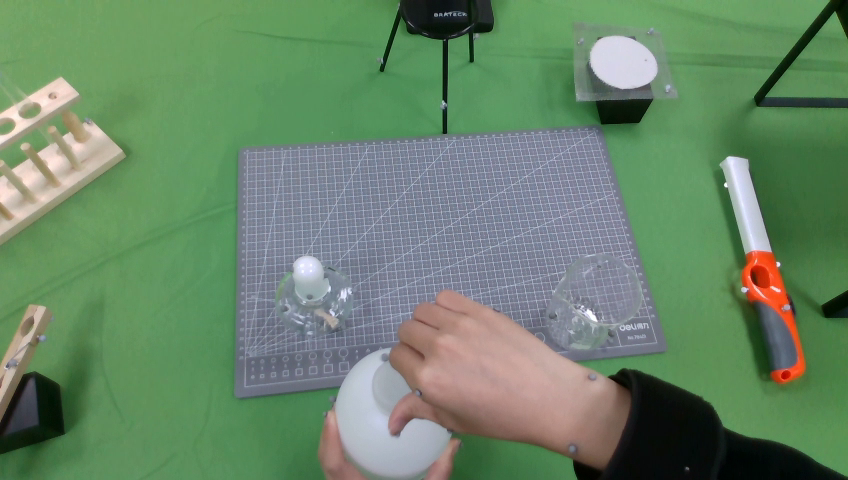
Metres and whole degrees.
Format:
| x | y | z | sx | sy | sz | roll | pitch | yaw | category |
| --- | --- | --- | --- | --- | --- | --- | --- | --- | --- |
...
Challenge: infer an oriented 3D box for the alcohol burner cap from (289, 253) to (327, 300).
| x | y | z | sx | sy | sz | roll | pitch | yaw | category |
| --- | --- | --- | --- | --- | --- | --- | --- | --- | --- |
| -0.109 | 0.032 | 0.559 | 0.034 | 0.048 | 0.033 | 0 | 59 | 0 | alcohol burner cap |

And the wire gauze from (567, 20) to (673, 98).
| x | y | z | sx | sy | sz | roll | pitch | yaw | category |
| --- | --- | --- | --- | --- | --- | --- | --- | --- | --- |
| 0.241 | -0.226 | 0.757 | 0.121 | 0.011 | 0.124 | 2 | 64 | -3 | wire gauze |

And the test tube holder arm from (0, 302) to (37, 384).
| x | y | z | sx | sy | sz | roll | pitch | yaw | category |
| --- | --- | --- | --- | --- | --- | --- | --- | --- | --- |
| -0.373 | 0.100 | 0.552 | 0.010 | 0.015 | 0.087 | 6 | 64 | 5 | test tube holder arm |

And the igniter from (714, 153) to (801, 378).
| x | y | z | sx | sy | sz | roll | pitch | yaw | category |
| --- | --- | --- | --- | --- | --- | --- | --- | --- | --- |
| 0.377 | 0.021 | 0.690 | 0.057 | 0.025 | 0.274 | 6 | 63 | -13 | igniter |

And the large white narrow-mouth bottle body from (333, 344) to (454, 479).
| x | y | z | sx | sy | sz | roll | pitch | yaw | category |
| --- | --- | --- | --- | --- | --- | --- | --- | --- | --- |
| -0.026 | 0.143 | 0.510 | 0.102 | 0.196 | 0.101 | 1 | 63 | -3 | large white narrow-mouth bottle body |

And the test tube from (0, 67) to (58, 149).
| x | y | z | sx | sy | sz | roll | pitch | yaw | category |
| --- | --- | --- | --- | --- | --- | --- | --- | --- | --- |
| -0.418 | -0.143 | 0.626 | 0.017 | 0.151 | 0.017 | 0 | 62 | 0 | test tube |

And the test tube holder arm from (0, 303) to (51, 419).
| x | y | z | sx | sy | sz | roll | pitch | yaw | category |
| --- | --- | --- | --- | --- | --- | --- | --- | --- | --- |
| -0.374 | 0.140 | 0.532 | 0.013 | 0.015 | 0.177 | 7 | 65 | 6 | test tube holder arm |

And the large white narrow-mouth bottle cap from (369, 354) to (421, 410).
| x | y | z | sx | sy | sz | roll | pitch | yaw | category |
| --- | --- | --- | --- | --- | --- | --- | --- | --- | --- |
| -0.021 | 0.099 | 0.425 | 0.038 | 0.024 | 0.037 | 2 | 64 | -3 | large white narrow-mouth bottle cap |

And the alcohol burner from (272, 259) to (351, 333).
| x | y | z | sx | sy | sz | roll | pitch | yaw | category |
| --- | --- | --- | --- | --- | --- | --- | --- | --- | --- |
| -0.111 | 0.047 | 0.592 | 0.078 | 0.120 | 0.077 | 3 | 62 | -5 | alcohol burner |

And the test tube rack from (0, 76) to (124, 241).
| x | y | z | sx | sy | sz | roll | pitch | yaw | category |
| --- | --- | --- | --- | --- | --- | --- | --- | --- | --- |
| -0.455 | -0.061 | 0.638 | 0.066 | 0.086 | 0.242 | 41 | 68 | 15 | test tube rack |

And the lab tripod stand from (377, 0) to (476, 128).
| x | y | z | sx | sy | sz | roll | pitch | yaw | category |
| --- | --- | --- | --- | --- | --- | --- | --- | --- | --- |
| 0.012 | -0.231 | 0.728 | 0.148 | 0.132 | 0.147 | 2 | 65 | -5 | lab tripod stand |

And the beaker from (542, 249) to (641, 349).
| x | y | z | sx | sy | sz | roll | pitch | yaw | category |
| --- | --- | --- | --- | --- | --- | --- | --- | --- | --- |
| 0.160 | 0.064 | 0.611 | 0.084 | 0.101 | 0.073 | -3 | 64 | -4 | beaker |
